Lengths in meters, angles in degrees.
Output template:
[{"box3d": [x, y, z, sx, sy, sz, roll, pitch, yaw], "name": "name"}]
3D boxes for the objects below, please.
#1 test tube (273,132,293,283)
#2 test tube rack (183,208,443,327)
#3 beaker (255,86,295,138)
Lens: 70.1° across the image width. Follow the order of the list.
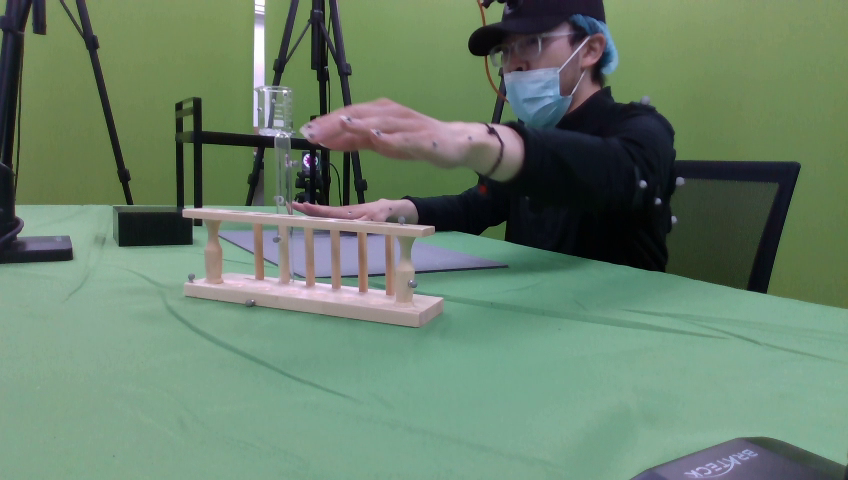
[{"box3d": [-0.139, -0.030, 0.596, 0.017, 0.150, 0.017, 1, 9, 0], "name": "test tube"}, {"box3d": [-0.106, 0.019, 0.570, 0.241, 0.085, 0.067, 5, 8, 19], "name": "test tube rack"}, {"box3d": [-0.309, -0.263, 1.251, 0.084, 0.100, 0.073, -4, 9, -38], "name": "beaker"}]
